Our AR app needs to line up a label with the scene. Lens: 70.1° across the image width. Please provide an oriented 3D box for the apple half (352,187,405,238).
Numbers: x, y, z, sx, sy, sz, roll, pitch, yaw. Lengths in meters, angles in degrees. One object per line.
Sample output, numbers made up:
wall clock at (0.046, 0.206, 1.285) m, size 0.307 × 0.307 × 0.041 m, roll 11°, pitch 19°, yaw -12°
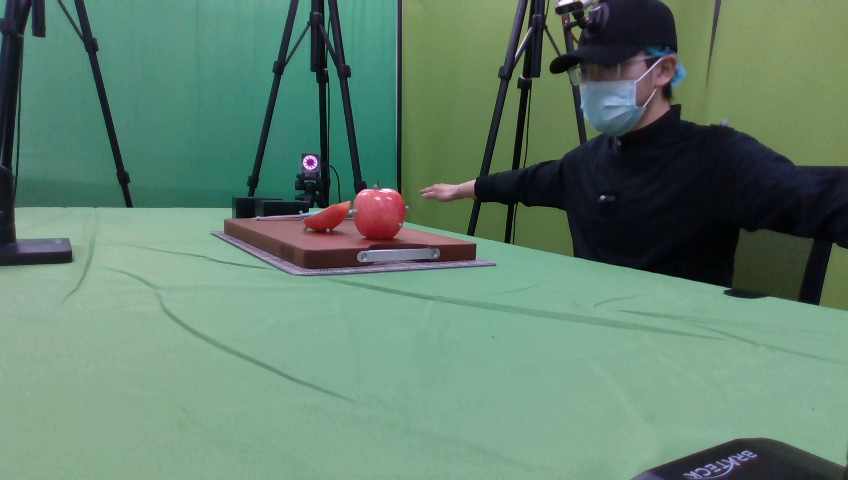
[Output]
apple half at (-0.058, -0.038, 0.877) m, size 0.053 × 0.074 × 0.081 m, roll 14°, pitch 9°, yaw 39°

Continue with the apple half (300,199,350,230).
apple half at (-0.147, -0.035, 0.941) m, size 0.081 × 0.033 × 0.081 m, roll -22°, pitch 1°, yaw 1°

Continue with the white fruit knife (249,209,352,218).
white fruit knife at (-0.220, -0.047, 1.116) m, size 0.208 × 0.016 × 0.027 m, roll -4°, pitch -5°, yaw -35°
